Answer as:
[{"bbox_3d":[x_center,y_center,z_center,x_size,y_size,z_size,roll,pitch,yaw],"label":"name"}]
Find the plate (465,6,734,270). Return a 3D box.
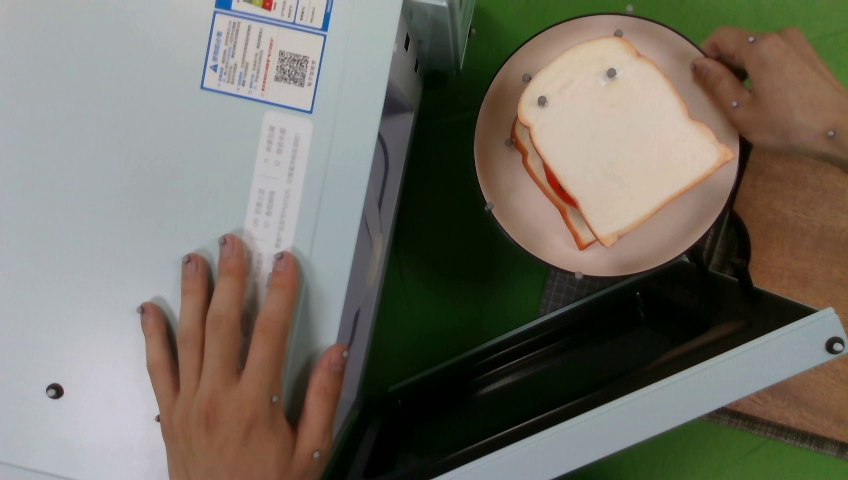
[{"bbox_3d":[0.137,-0.079,0.491,0.207,0.039,0.207,0,91,5],"label":"plate"}]

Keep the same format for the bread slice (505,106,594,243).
[{"bbox_3d":[0.130,-0.078,0.495,0.105,0.019,0.131,-37,91,1],"label":"bread slice"}]

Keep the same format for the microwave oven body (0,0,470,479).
[{"bbox_3d":[-0.162,-0.053,0.481,0.326,0.259,0.442,12,98,2],"label":"microwave oven body"}]

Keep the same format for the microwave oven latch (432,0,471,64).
[{"bbox_3d":[0.026,-0.203,0.548,0.030,0.029,0.079,13,98,1],"label":"microwave oven latch"}]

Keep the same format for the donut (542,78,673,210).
[{"bbox_3d":[0.138,-0.073,0.462,0.099,0.048,0.099,0,93,-2],"label":"donut"}]

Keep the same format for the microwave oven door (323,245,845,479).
[{"bbox_3d":[0.088,0.111,0.481,0.356,0.243,0.039,-26,94,6],"label":"microwave oven door"}]

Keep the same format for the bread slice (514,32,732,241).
[{"bbox_3d":[0.130,-0.079,0.433,0.107,0.018,0.134,-40,81,4],"label":"bread slice"}]
